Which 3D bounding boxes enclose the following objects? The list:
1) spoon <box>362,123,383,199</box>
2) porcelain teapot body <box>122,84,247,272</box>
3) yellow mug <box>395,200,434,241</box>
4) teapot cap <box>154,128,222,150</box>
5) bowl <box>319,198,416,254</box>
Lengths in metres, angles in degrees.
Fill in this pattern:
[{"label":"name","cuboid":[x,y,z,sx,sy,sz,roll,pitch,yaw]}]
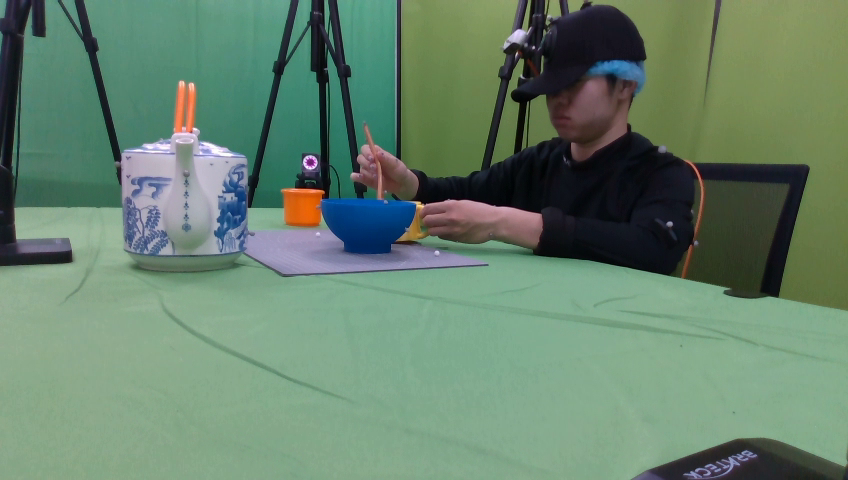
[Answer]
[{"label":"spoon","cuboid":[-0.086,-0.126,1.100,0.021,0.193,0.042,-13,-13,5]},{"label":"porcelain teapot body","cuboid":[-0.286,-0.075,0.733,0.146,0.225,0.204,0,8,-24]},{"label":"yellow mug","cuboid":[-0.041,-0.035,1.070,0.130,0.064,0.100,3,9,27]},{"label":"teapot cap","cuboid":[-0.294,-0.117,0.754,0.085,0.044,0.085,4,9,0]},{"label":"bowl","cuboid":[-0.089,-0.022,0.941,0.151,0.077,0.151,2,7,0]}]
